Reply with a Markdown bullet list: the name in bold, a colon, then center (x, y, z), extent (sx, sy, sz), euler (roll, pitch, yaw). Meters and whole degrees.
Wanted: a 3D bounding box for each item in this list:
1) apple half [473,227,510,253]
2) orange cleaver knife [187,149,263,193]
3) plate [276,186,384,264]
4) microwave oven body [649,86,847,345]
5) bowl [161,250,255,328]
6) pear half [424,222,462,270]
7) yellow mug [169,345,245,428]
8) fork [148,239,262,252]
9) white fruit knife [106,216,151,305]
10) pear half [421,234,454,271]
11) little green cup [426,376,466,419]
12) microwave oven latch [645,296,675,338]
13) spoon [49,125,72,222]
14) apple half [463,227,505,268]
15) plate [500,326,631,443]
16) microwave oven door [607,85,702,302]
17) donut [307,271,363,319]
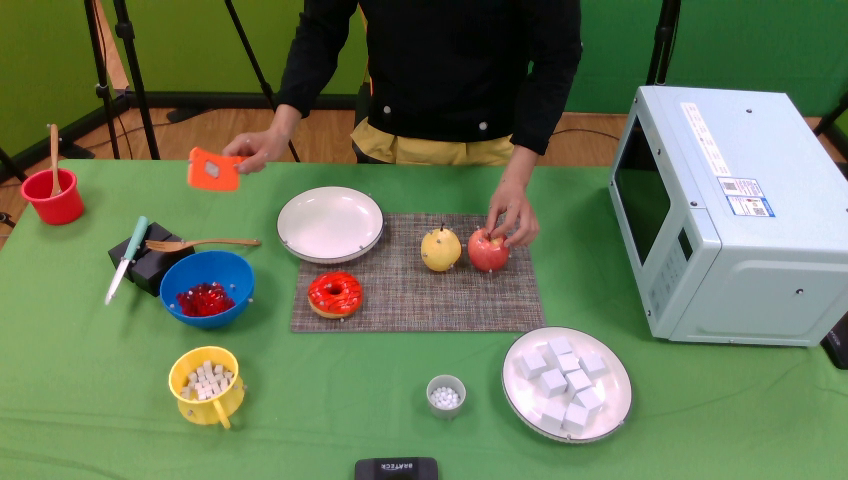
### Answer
- **apple half**: center (0.124, 0.000, 1.166), extent (0.081, 0.081, 0.032), euler (4, 49, 0)
- **orange cleaver knife**: center (-0.360, -0.125, 1.110), extent (0.012, 0.077, 0.211), euler (2, 7, 20)
- **plate**: center (-0.184, -0.027, 1.195), extent (0.209, 0.038, 0.208), euler (2, 46, -2)
- **microwave oven body**: center (0.567, -0.053, 1.118), extent (0.326, 0.261, 0.439), euler (2, 45, -1)
- **bowl**: center (-0.362, 0.097, 1.040), extent (0.151, 0.077, 0.150), euler (2, 45, -2)
- **pear half**: center (0.039, 0.000, 1.135), extent (0.076, 0.110, 0.056), euler (25, 49, 14)
- **yellow mug**: center (-0.322, 0.230, 0.922), extent (0.100, 0.064, 0.130), euler (-24, 53, -25)
- **fork**: center (-0.399, 0.007, 1.118), extent (0.208, 0.019, 0.028), euler (-4, 34, -37)
- **white fruit knife**: center (-0.519, 0.032, 1.066), extent (0.027, 0.016, 0.206), euler (-18, 45, 19)
- **pear half**: center (0.020, 0.028, 1.120), extent (0.070, 0.088, 0.031), euler (25, 49, 13)
- **little green cup**: center (0.033, 0.248, 0.950), extent (0.061, 0.039, 0.061), euler (2, 46, -2)
- **microwave oven latch**: center (0.412, 0.134, 1.061), extent (0.030, 0.029, 0.078), euler (3, 45, 0)
- **spoon**: center (-0.717, -0.132, 1.189), extent (0.041, 0.021, 0.193), euler (-3, 90, -7)
- **apple half**: center (0.119, 0.021, 1.146), extent (0.081, 0.075, 0.053), euler (-17, 51, -27)
- **plate**: center (0.224, 0.234, 0.978), extent (0.208, 0.039, 0.206), euler (2, 46, -2)
- **microwave oven door**: center (0.423, -0.094, 1.140), extent (0.039, 0.245, 0.353), euler (2, 46, -1)
- **donut**: center (-0.157, 0.097, 1.073), extent (0.099, 0.048, 0.098), euler (4, 45, -4)
